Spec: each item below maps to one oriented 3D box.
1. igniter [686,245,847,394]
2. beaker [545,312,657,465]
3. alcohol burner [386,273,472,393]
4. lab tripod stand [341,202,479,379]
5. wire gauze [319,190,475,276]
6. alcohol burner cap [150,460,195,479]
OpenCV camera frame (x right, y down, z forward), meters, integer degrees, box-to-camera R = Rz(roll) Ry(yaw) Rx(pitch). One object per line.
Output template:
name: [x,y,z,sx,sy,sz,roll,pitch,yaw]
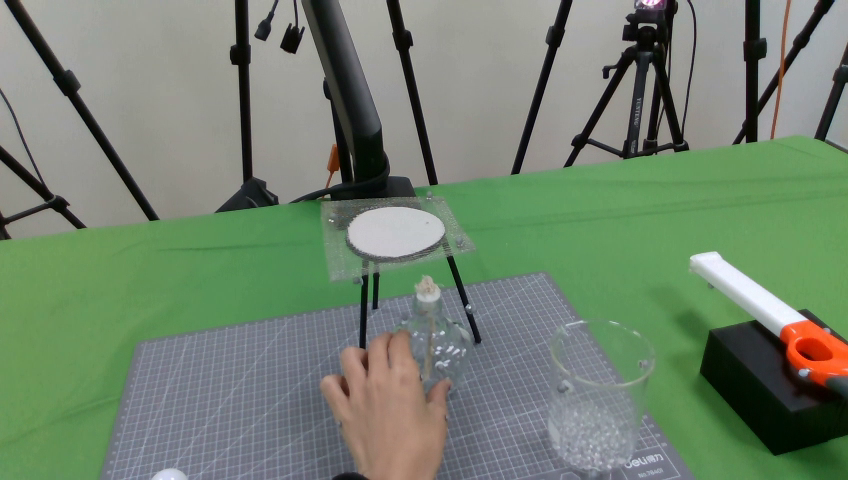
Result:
igniter: [0.314,0.076,0.504,0.057,0.025,0.273,-10,29,-10]
beaker: [0.130,0.116,0.470,0.074,0.101,0.083,-19,35,-23]
alcohol burner: [0.004,0.076,0.531,0.078,0.120,0.077,-1,34,1]
lab tripod stand: [-0.021,0.040,0.571,0.148,0.132,0.147,-1,31,1]
wire gauze: [-0.029,-0.014,0.531,0.122,0.011,0.123,-8,32,-10]
alcohol burner cap: [-0.183,0.182,0.445,0.034,0.048,0.033,-2,33,1]
